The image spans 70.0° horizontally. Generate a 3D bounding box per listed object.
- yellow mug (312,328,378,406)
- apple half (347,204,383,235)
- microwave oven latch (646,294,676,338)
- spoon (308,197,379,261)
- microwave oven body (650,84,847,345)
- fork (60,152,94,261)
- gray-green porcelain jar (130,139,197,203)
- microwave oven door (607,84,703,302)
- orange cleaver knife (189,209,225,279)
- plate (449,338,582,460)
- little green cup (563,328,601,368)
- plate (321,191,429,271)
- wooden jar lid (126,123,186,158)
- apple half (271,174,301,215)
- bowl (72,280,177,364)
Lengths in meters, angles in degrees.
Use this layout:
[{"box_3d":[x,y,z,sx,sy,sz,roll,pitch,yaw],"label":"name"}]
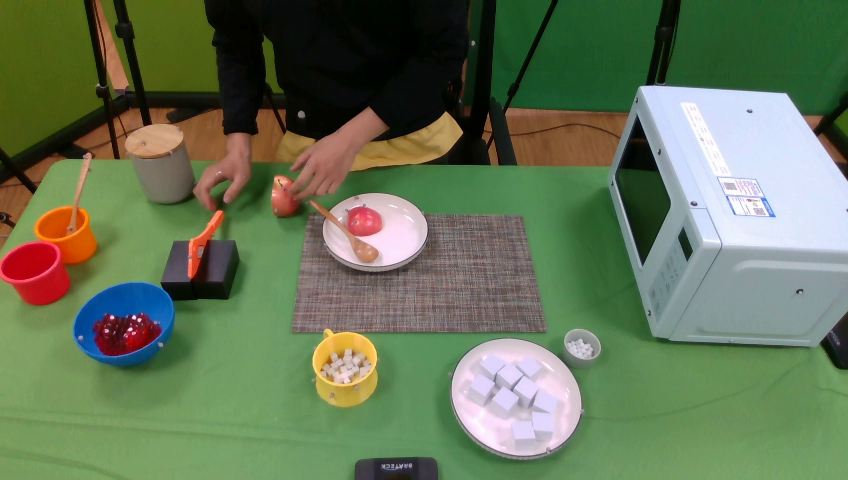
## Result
[{"box_3d":[-0.132,0.193,0.971,0.100,0.064,0.130,-22,51,-22],"label":"yellow mug"},{"box_3d":[-0.118,-0.049,1.207,0.081,0.033,0.081,2,50,-3],"label":"apple half"},{"box_3d":[0.413,0.133,1.061,0.030,0.029,0.078,4,46,1],"label":"microwave oven latch"},{"box_3d":[-0.159,-0.025,1.172,0.041,0.022,0.193,-41,73,-20],"label":"spoon"},{"box_3d":[0.569,-0.054,1.116,0.326,0.261,0.439,2,46,-1],"label":"microwave oven body"},{"box_3d":[-0.638,-0.063,1.119,0.028,0.018,0.207,12,90,8],"label":"fork"},{"box_3d":[-0.522,-0.148,1.225,0.106,0.127,0.105,2,47,-2],"label":"gray-green porcelain jar"},{"box_3d":[0.424,-0.096,1.138,0.039,0.245,0.353,3,46,-1],"label":"microwave oven door"},{"box_3d":[-0.401,0.002,1.122,0.012,0.077,0.210,4,23,-4],"label":"orange cleaver knife"},{"box_3d":[0.141,0.251,0.956,0.208,0.039,0.206,2,46,-2],"label":"plate"},{"box_3d":[0.265,0.185,1.025,0.061,0.039,0.061,1,45,-1],"label":"little green cup"},{"box_3d":[-0.094,-0.015,1.185,0.209,0.038,0.208,2,46,-2],"label":"plate"},{"box_3d":[-0.519,-0.190,1.179,0.108,0.021,0.107,2,44,-2],"label":"wooden jar lid"},{"box_3d":[-0.277,-0.090,1.225,0.053,0.075,0.080,1,43,-8],"label":"apple half"},{"box_3d":[-0.473,0.147,0.982,0.151,0.077,0.150,2,46,-2],"label":"bowl"}]
